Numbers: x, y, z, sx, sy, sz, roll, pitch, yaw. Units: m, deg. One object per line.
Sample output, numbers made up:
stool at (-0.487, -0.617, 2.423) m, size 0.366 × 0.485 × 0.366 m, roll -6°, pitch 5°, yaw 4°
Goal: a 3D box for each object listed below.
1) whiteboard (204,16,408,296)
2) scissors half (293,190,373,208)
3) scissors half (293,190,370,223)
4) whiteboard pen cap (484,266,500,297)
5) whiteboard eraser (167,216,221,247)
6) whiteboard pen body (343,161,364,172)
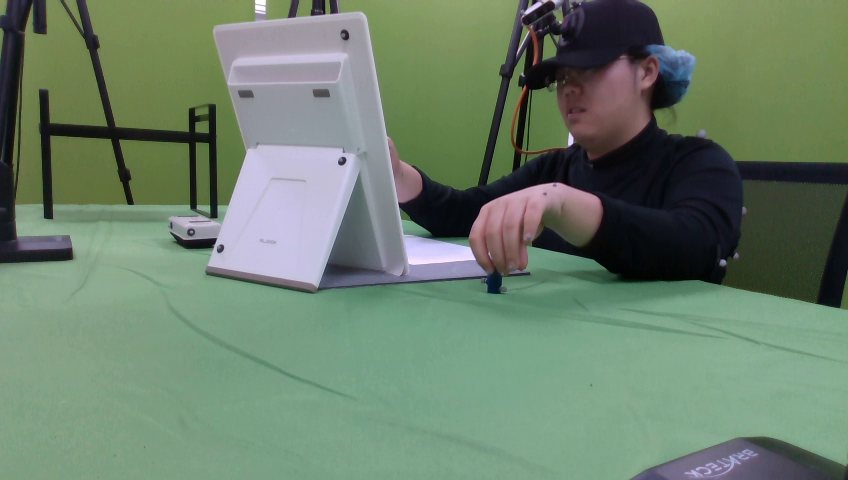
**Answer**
whiteboard at (-0.166, -0.072, 0.669) m, size 0.216 × 0.305 × 0.144 m, roll 8°, pitch 30°, yaw 30°
scissors half at (-0.201, -0.096, 1.333) m, size 0.175 × 0.040 × 0.013 m, roll 5°, pitch 18°, yaw -4°
scissors half at (-0.205, -0.077, 1.338) m, size 0.175 × 0.040 × 0.013 m, roll 22°, pitch 11°, yaw -8°
whiteboard pen cap at (0.075, 0.047, 0.667) m, size 0.018 × 0.033 × 0.018 m, roll 3°, pitch 6°, yaw 0°
whiteboard eraser at (-0.350, -0.013, 0.920) m, size 0.056 × 0.042 × 0.112 m, roll 0°, pitch 7°, yaw -35°
whiteboard pen body at (-0.108, -0.114, 0.942) m, size 0.017 × 0.017 × 0.140 m, roll 1°, pitch 5°, yaw -16°
